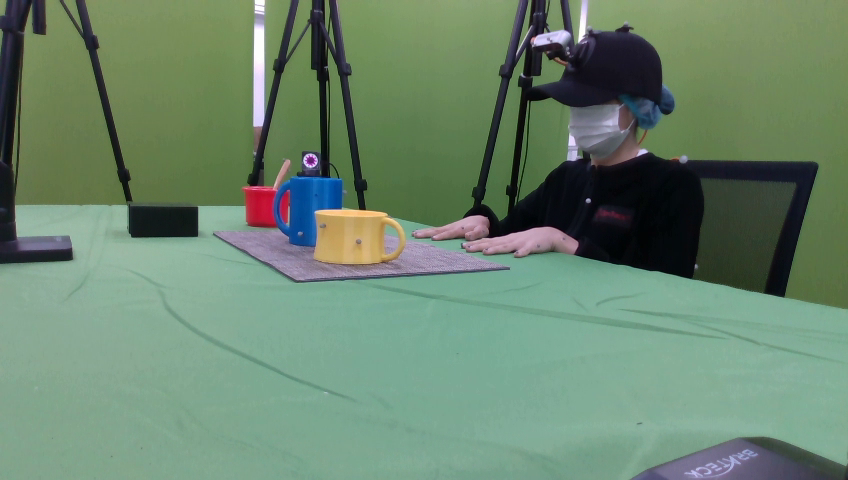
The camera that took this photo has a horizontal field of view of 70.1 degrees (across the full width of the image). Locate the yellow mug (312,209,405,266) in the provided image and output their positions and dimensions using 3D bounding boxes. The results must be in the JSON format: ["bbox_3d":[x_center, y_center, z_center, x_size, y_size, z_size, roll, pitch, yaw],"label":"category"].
[{"bbox_3d":[-0.086,-0.004,0.817,0.130,0.064,0.100,6,8,18],"label":"yellow mug"}]

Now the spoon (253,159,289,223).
[{"bbox_3d":[-0.307,-0.104,1.244,0.041,0.022,0.193,2,51,11],"label":"spoon"}]

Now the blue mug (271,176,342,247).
[{"bbox_3d":[-0.190,-0.047,0.963,0.116,0.106,0.082,4,7,13],"label":"blue mug"}]
